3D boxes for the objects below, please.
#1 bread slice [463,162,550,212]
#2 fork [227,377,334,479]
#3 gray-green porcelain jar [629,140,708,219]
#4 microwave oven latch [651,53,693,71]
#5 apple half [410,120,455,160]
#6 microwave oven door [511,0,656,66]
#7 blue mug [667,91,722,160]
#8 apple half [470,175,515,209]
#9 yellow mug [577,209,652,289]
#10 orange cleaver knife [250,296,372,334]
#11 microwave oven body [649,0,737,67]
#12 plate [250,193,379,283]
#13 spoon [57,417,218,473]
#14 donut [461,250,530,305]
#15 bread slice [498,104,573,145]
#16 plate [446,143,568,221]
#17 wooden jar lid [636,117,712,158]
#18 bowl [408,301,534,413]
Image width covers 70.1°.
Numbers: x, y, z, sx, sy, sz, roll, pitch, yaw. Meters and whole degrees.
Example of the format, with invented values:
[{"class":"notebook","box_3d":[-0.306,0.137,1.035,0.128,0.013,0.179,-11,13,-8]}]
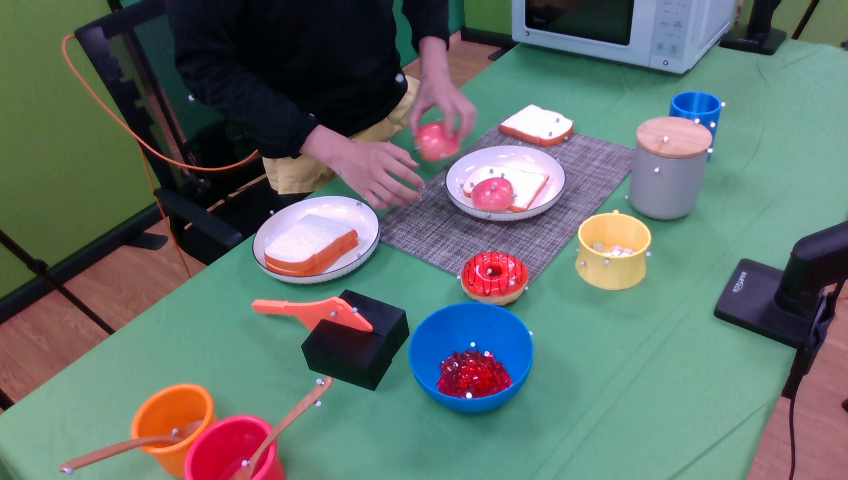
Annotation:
[{"class":"bread slice","box_3d":[0.136,-0.094,1.045,0.133,0.018,0.107,15,45,23]},{"class":"fork","box_3d":[-0.163,0.216,0.647,0.207,0.019,0.028,-49,41,16]},{"class":"gray-green porcelain jar","box_3d":[0.383,-0.105,0.958,0.106,0.127,0.105,-4,41,4]},{"class":"microwave oven latch","box_3d":[0.532,-0.386,1.301,0.078,0.029,0.030,27,52,34]},{"class":"apple half","box_3d":[0.014,-0.183,1.070,0.075,0.053,0.080,-12,33,-5]},{"class":"microwave oven door","box_3d":[0.351,-0.539,1.349,0.353,0.245,0.039,24,50,31]},{"class":"blue mug","box_3d":[0.474,-0.207,1.079,0.082,0.106,0.116,4,42,13]},{"class":"apple half","box_3d":[0.114,-0.086,1.004,0.081,0.033,0.081,-4,43,4]},{"class":"yellow mug","box_3d":[0.279,0.004,0.893,0.099,0.064,0.130,5,41,14]},{"class":"orange cleaver knife","box_3d":[-0.158,0.103,0.828,0.210,0.078,0.012,-4,43,39]},{"class":"microwave oven body","box_3d":[0.475,-0.602,1.411,0.438,0.261,0.327,23,50,32]},{"class":"plate","box_3d":[-0.174,-0.001,0.984,0.209,0.038,0.208,-4,40,4]},{"class":"spoon","box_3d":[-0.304,0.221,0.661,0.041,0.195,0.021,19,92,27]},{"class":"donut","box_3d":[0.103,0.053,0.872,0.099,0.048,0.098,-4,40,4]},{"class":"bread slice","box_3d":[0.231,-0.231,1.205,0.105,0.019,0.130,-36,47,-29]},{"class":"plate","box_3d":[0.142,-0.096,1.045,0.207,0.039,0.206,-4,41,4]},{"class":"wooden jar lid","box_3d":[0.377,-0.151,0.917,0.108,0.021,0.108,-2,42,3]},{"class":"bowl","box_3d":[0.059,0.156,0.739,0.151,0.077,0.150,-4,40,4]}]
